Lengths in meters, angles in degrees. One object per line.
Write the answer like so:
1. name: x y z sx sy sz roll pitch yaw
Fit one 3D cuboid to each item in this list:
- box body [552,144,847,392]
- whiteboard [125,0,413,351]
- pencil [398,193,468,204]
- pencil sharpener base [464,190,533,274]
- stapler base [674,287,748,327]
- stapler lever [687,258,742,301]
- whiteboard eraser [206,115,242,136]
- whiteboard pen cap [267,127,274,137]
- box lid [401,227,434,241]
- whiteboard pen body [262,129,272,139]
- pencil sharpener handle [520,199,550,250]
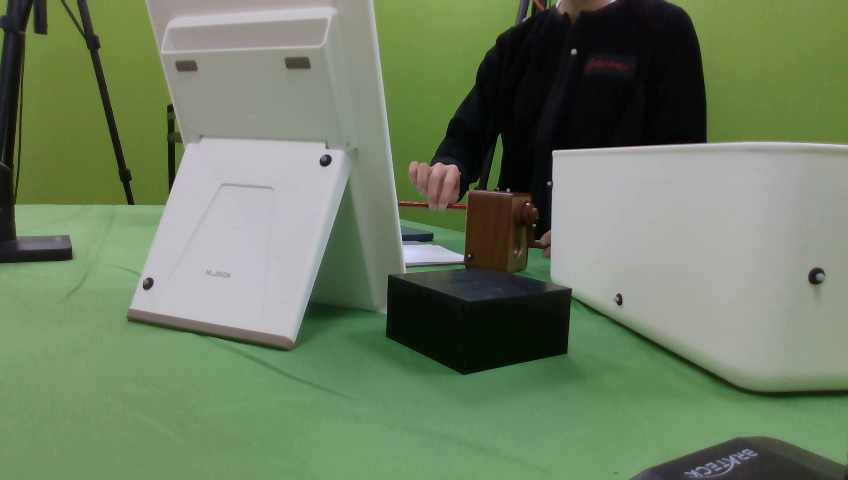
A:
1. box body: 0.290 0.002 0.549 0.255 0.160 0.363 2 7 -10
2. whiteboard: -0.151 -0.050 0.471 0.216 0.305 0.144 6 27 24
3. pencil: 0.014 -0.060 0.882 0.193 0.012 0.012 -2 3 35
4. pencil sharpener base: 0.102 -0.012 0.812 0.076 0.107 0.061 8 8 36
5. stapler base: 0.281 0.061 0.586 0.041 0.024 0.131 10 8 37
6. stapler lever: 0.283 0.035 0.585 0.026 0.040 0.119 11 8 37
7. whiteboard eraser: -0.438 -0.249 1.320 0.056 0.042 0.112 -3 9 -30
8. whiteboard pen cap: -0.340 -0.239 1.338 0.018 0.018 0.033 1 -1 -15
9. box lid: -0.196 -0.015 1.105 0.373 0.015 0.262 -1 7 -32
10. whiteboard pen body: -0.361 -0.245 1.393 0.017 0.017 0.140 0 5 -20
11. pencil sharpener handle: 0.147 -0.019 0.785 0.030 0.068 0.036 8 27 36
